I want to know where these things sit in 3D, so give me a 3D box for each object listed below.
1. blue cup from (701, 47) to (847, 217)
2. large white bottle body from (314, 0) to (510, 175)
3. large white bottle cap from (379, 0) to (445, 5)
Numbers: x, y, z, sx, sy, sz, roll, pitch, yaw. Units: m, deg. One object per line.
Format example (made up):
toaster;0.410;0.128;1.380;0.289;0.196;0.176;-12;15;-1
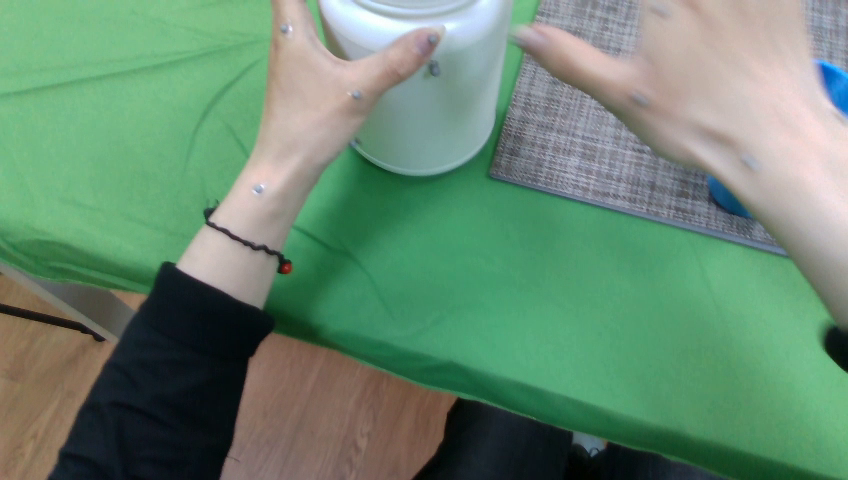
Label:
blue cup;0.250;-0.067;0.441;0.092;0.101;0.092;0;62;1
large white bottle body;-0.008;-0.147;0.434;0.130;0.186;0.129;0;64;0
large white bottle cap;-0.008;-0.185;0.359;0.115;0.018;0.114;0;63;0
